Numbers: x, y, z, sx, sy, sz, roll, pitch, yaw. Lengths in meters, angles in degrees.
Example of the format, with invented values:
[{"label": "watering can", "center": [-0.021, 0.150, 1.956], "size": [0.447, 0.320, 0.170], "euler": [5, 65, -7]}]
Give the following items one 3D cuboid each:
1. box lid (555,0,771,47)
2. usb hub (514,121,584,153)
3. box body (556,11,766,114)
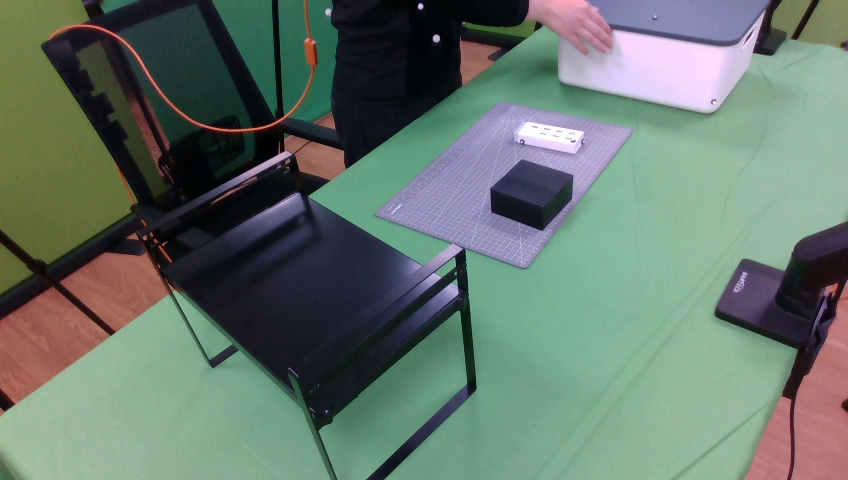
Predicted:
[{"label": "box lid", "center": [0.482, -0.475, 1.235], "size": [0.368, 0.015, 0.264], "euler": [23, 49, 30]}, {"label": "usb hub", "center": [0.240, -0.200, 1.165], "size": [0.124, 0.025, 0.049], "euler": [17, 46, 26]}, {"label": "box body", "center": [0.491, -0.419, 1.283], "size": [0.361, 0.161, 0.255], "euler": [22, 49, 30]}]
